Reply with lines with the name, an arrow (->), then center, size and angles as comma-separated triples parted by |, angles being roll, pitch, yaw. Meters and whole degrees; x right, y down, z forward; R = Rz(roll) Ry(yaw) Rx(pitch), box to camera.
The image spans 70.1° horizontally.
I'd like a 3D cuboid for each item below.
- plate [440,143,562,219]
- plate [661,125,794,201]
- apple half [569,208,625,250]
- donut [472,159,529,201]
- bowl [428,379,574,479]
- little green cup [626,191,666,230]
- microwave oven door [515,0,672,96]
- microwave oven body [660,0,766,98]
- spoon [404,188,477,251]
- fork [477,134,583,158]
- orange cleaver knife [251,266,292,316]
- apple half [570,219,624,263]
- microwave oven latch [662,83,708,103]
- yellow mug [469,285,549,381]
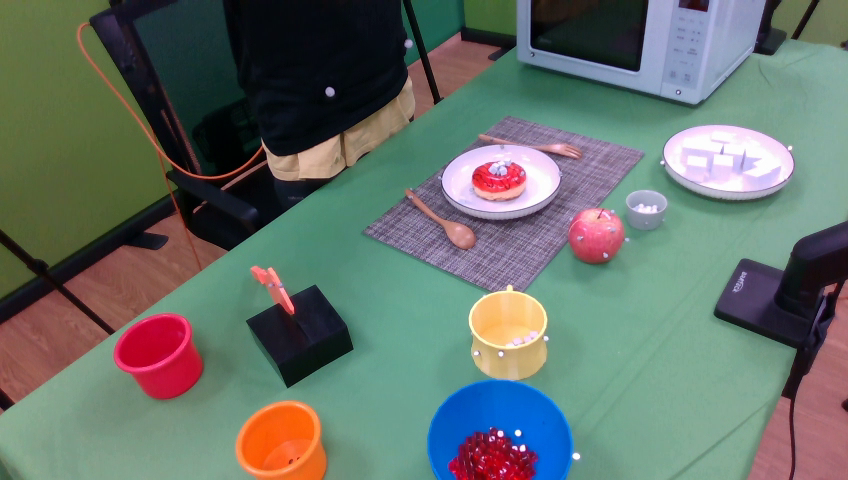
plate -> 0.134, -0.098, 1.052 | 0.209, 0.038, 0.208 | -4, 40, 4
plate -> 0.513, -0.128, 1.035 | 0.207, 0.039, 0.206 | -4, 40, 4
apple half -> 0.262, -0.014, 0.913 | 0.080, 0.075, 0.053 | 5, 37, 20
donut -> 0.132, -0.105, 1.044 | 0.099, 0.048, 0.098 | -5, 38, 5
bowl -> 0.082, 0.233, 0.644 | 0.151, 0.077, 0.150 | -4, 40, 4
little green cup -> 0.352, -0.046, 0.963 | 0.061, 0.039, 0.061 | -4, 40, 4
microwave oven door -> 0.344, -0.455, 1.259 | 0.353, 0.245, 0.039 | 26, 51, 33
microwave oven body -> 0.472, -0.513, 1.317 | 0.438, 0.261, 0.327 | 26, 51, 34
spoon -> 0.021, -0.039, 1.019 | 0.042, 0.022, 0.192 | -29, 45, -24
fork -> 0.199, -0.182, 1.155 | 0.206, 0.019, 0.028 | 12, 55, 22
orange cleaver knife -> -0.221, 0.071, 0.873 | 0.012, 0.077, 0.210 | -25, 11, -21
apple half -> 0.250, 0.009, 0.885 | 0.081, 0.081, 0.033 | 7, 39, 17
microwave oven latch -> 0.518, -0.297, 1.204 | 0.078, 0.029, 0.030 | 28, 52, 36
yellow mug -> 0.112, 0.112, 0.792 | 0.100, 0.064, 0.130 | 0, 40, 9
